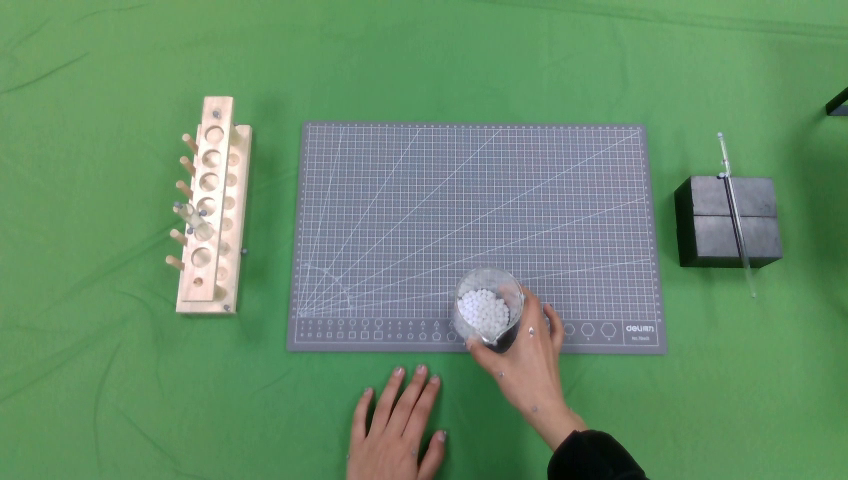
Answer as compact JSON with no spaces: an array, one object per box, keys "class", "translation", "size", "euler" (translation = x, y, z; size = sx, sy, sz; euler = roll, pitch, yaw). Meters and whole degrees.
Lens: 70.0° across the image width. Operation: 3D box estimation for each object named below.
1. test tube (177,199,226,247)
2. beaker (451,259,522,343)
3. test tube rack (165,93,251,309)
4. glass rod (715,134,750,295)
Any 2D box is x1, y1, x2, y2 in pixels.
[{"class":"test tube","translation":[-0.238,-0.015,0.658],"size":[0.017,0.150,0.017],"euler":[1,76,-6]},{"class":"beaker","translation":[0.067,0.076,0.678],"size":[0.074,0.101,0.083],"euler":[-1,71,0]},{"class":"test tube rack","translation":[-0.259,-0.045,0.717],"size":[0.067,0.085,0.241],"euler":[1,74,0]},{"class":"glass rod","translation":[0.363,-0.033,0.714],"size":[0.008,0.008,0.198],"euler":[-2,75,-1]}]
